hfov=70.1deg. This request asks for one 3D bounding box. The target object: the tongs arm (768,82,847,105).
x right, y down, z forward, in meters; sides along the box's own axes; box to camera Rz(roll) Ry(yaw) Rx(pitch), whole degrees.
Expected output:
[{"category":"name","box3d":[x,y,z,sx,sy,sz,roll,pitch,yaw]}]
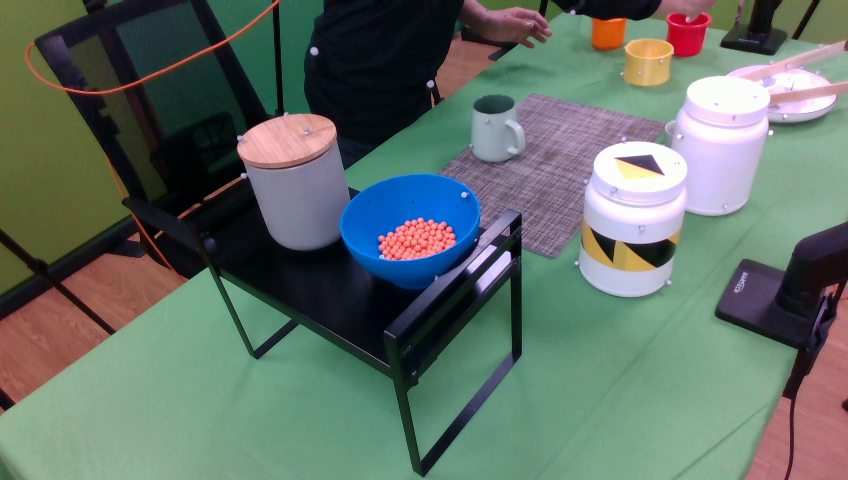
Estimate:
[{"category":"tongs arm","box3d":[0.738,-0.282,1.134,0.388,0.028,0.028,-9,46,-5]}]

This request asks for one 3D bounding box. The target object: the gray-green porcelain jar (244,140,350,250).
[{"category":"gray-green porcelain jar","box3d":[-0.144,-0.060,0.714,0.106,0.127,0.105,-4,41,4]}]

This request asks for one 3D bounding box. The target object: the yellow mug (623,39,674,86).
[{"category":"yellow mug","box3d":[0.485,-0.398,1.334,0.100,0.064,0.130,-18,40,-10]}]

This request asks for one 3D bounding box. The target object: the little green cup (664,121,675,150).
[{"category":"little green cup","box3d":[0.472,-0.188,1.113,0.061,0.039,0.061,-4,40,4]}]

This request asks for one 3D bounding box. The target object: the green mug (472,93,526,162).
[{"category":"green mug","box3d":[0.144,-0.202,1.122,0.093,0.105,0.124,-29,45,-23]}]

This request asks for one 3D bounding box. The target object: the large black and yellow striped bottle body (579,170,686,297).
[{"category":"large black and yellow striped bottle body","box3d":[0.287,-0.027,0.841,0.131,0.185,0.130,-4,40,4]}]

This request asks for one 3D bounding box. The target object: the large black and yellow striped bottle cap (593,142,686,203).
[{"category":"large black and yellow striped bottle cap","box3d":[0.280,-0.090,0.786,0.115,0.019,0.114,-5,41,5]}]

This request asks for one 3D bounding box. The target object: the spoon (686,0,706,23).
[{"category":"spoon","box3d":[0.609,-0.542,1.282,0.021,0.194,0.041,11,60,1]}]

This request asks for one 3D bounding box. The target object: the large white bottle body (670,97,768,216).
[{"category":"large white bottle body","box3d":[0.458,-0.146,0.952,0.130,0.185,0.130,-4,40,4]}]

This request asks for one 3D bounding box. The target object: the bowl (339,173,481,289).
[{"category":"bowl","box3d":[-0.011,0.001,0.660,0.151,0.077,0.150,-5,40,5]}]

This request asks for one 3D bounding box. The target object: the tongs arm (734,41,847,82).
[{"category":"tongs arm","box3d":[0.712,-0.332,1.194,0.386,0.026,0.050,-18,45,-16]}]

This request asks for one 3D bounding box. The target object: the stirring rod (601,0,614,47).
[{"category":"stirring rod","box3d":[0.440,-0.552,1.463,0.014,0.006,0.175,-7,83,2]}]

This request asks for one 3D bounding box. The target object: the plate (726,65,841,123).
[{"category":"plate","box3d":[0.695,-0.282,1.189,0.207,0.039,0.206,-4,40,4]}]

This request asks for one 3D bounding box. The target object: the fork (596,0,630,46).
[{"category":"fork","box3d":[0.481,-0.556,1.452,0.028,0.019,0.207,40,103,38]}]

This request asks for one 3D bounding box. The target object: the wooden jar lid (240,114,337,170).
[{"category":"wooden jar lid","box3d":[-0.149,-0.106,0.674,0.108,0.021,0.108,-6,39,5]}]

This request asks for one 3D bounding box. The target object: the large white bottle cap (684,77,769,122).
[{"category":"large white bottle cap","box3d":[0.448,-0.209,0.898,0.115,0.018,0.114,-4,40,4]}]
